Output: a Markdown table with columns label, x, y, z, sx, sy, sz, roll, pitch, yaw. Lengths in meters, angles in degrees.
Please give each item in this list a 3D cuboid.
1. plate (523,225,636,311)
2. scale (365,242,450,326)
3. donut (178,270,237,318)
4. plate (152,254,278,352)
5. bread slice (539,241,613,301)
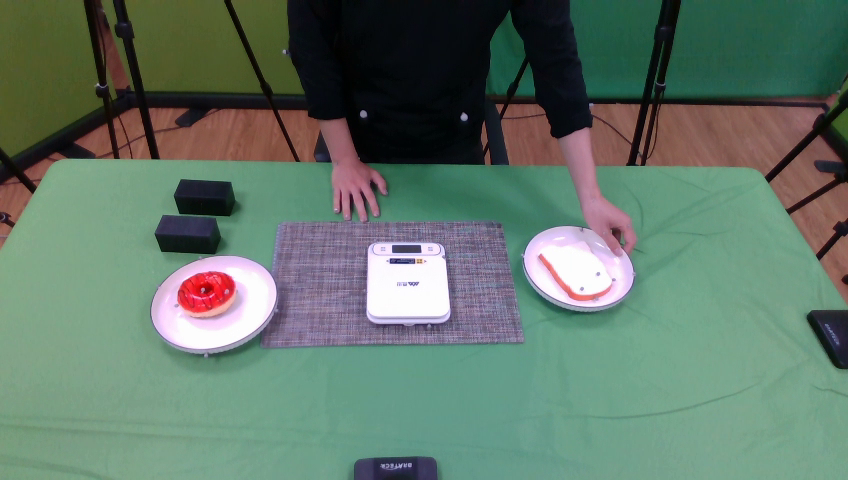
| label | x | y | z | sx | sy | sz | roll | pitch | yaw |
| --- | --- | --- | --- | --- | --- | --- | --- | --- | --- |
| plate | 0.291 | 0.057 | 1.150 | 0.209 | 0.038 | 0.208 | 1 | 46 | -1 |
| scale | -0.032 | 0.071 | 1.113 | 0.149 | 0.032 | 0.199 | 1 | 46 | -4 |
| donut | -0.375 | 0.092 | 1.053 | 0.099 | 0.048 | 0.098 | 1 | 42 | 0 |
| plate | -0.357 | 0.111 | 1.052 | 0.208 | 0.039 | 0.206 | 2 | 46 | -2 |
| bread slice | 0.297 | 0.058 | 1.152 | 0.105 | 0.019 | 0.130 | -16 | 49 | -16 |
